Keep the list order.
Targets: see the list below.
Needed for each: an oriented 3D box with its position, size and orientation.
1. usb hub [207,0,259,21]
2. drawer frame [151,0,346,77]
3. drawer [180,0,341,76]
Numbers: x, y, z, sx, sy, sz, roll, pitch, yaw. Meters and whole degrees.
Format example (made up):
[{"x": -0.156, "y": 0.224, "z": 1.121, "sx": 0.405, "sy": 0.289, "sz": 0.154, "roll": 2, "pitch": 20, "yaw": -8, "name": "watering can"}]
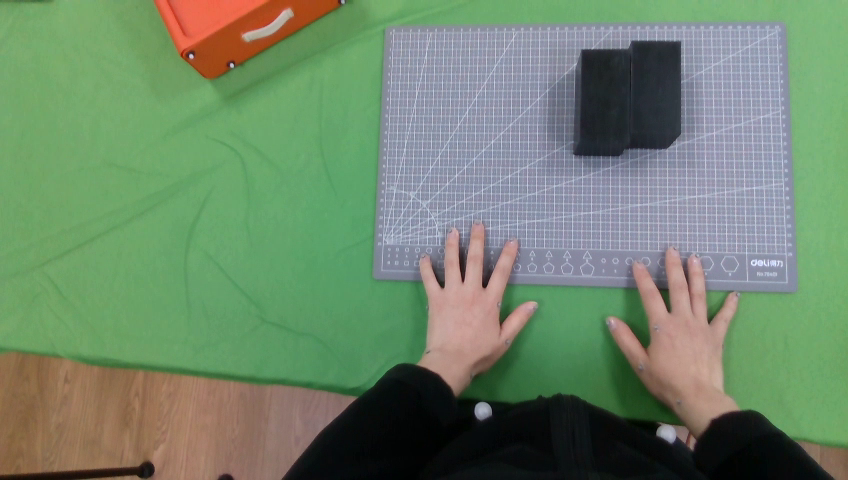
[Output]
[{"x": -0.202, "y": -0.312, "z": 0.713, "sx": 0.125, "sy": 0.025, "sz": 0.049, "roll": -24, "pitch": 93, "yaw": 10, "name": "usb hub"}, {"x": -0.229, "y": -0.334, "z": 0.707, "sx": 0.201, "sy": 0.083, "sz": 0.212, "roll": -31, "pitch": 79, "yaw": 1, "name": "drawer frame"}, {"x": -0.228, "y": -0.331, "z": 0.710, "sx": 0.194, "sy": 0.073, "sz": 0.210, "roll": -30, "pitch": 79, "yaw": 1, "name": "drawer"}]
